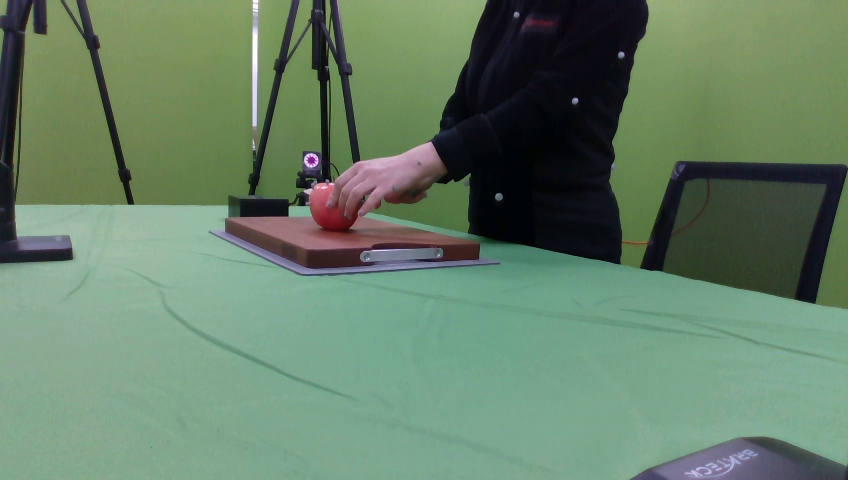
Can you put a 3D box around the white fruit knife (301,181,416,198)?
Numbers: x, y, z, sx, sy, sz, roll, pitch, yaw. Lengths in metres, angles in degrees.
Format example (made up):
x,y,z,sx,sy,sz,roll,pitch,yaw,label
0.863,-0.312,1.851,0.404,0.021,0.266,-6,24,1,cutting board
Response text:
x,y,z,sx,sy,sz,roll,pitch,yaw,label
-0.102,-0.082,0.994,0.208,0.027,0.016,-4,6,-33,white fruit knife

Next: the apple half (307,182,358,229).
x,y,z,sx,sy,sz,roll,pitch,yaw,label
-0.137,-0.052,0.951,0.081,0.074,0.053,1,14,-39,apple half

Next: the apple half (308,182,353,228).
x,y,z,sx,sy,sz,roll,pitch,yaw,label
-0.157,-0.058,0.981,0.082,0.081,0.032,-3,9,-33,apple half
